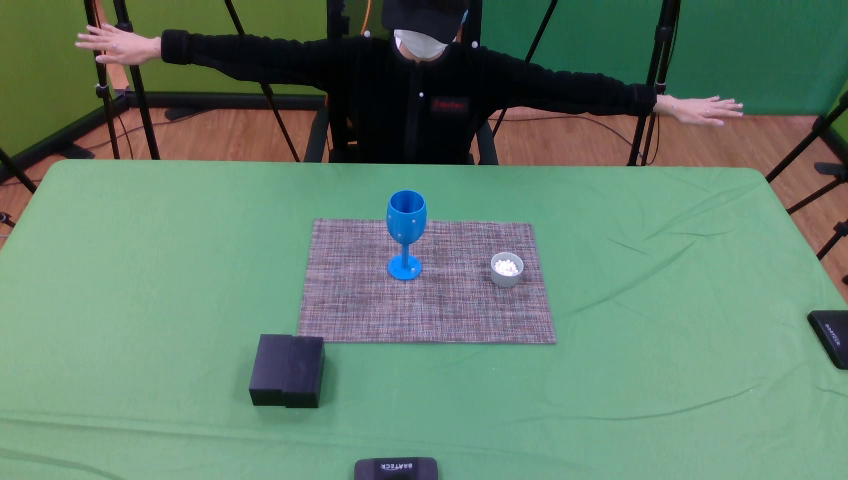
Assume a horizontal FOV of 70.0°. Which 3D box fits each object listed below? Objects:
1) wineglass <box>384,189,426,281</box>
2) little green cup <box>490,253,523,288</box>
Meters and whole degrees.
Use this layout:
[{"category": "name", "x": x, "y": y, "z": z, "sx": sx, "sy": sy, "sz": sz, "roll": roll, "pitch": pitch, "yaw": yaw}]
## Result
[{"category": "wineglass", "x": -0.035, "y": -0.006, "z": 1.091, "sx": 0.074, "sy": 0.173, "sz": 0.073, "roll": 2, "pitch": 46, "yaw": -2}, {"category": "little green cup", "x": 0.153, "y": 0.059, "z": 1.137, "sx": 0.061, "sy": 0.039, "sz": 0.061, "roll": 2, "pitch": 46, "yaw": -2}]
